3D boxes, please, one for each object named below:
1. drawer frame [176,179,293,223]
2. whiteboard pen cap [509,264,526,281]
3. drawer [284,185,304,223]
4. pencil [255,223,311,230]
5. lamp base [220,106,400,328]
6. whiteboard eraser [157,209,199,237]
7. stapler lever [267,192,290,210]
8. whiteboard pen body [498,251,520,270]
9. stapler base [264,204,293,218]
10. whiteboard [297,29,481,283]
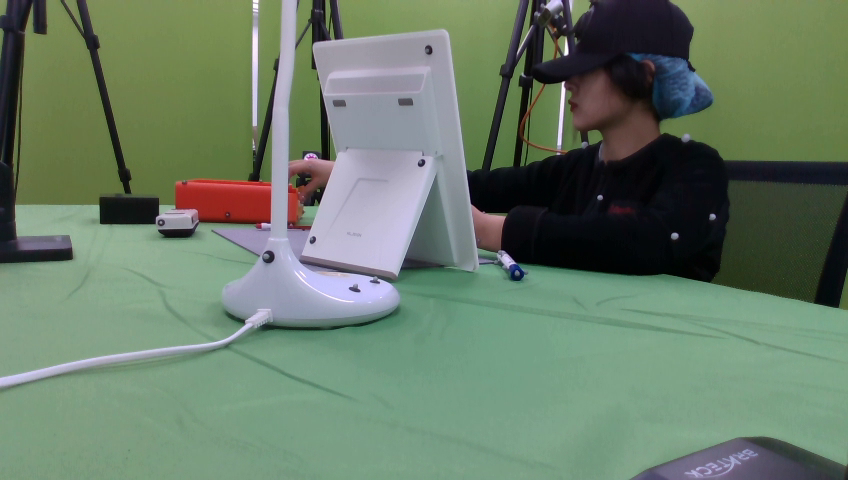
[{"bbox_3d":[-0.395,-0.086,1.300,0.214,0.082,0.201,1,8,-9],"label":"drawer frame"},{"bbox_3d":[0.115,0.039,0.752,0.018,0.018,0.033,2,9,0],"label":"whiteboard pen cap"},{"bbox_3d":[-0.369,-0.084,1.303,0.212,0.073,0.194,2,8,-8],"label":"drawer"},{"bbox_3d":[-0.216,-0.023,1.134,0.195,0.012,0.012,1,7,-21],"label":"pencil"},{"bbox_3d":[-0.101,-0.023,0.531,0.160,0.180,0.179,4,10,10],"label":"lamp base"},{"bbox_3d":[-0.411,-0.029,1.016,0.056,0.042,0.112,2,7,-16],"label":"whiteboard eraser"},{"bbox_3d":[-0.314,-0.088,1.310,0.027,0.040,0.118,5,9,-2],"label":"stapler lever"},{"bbox_3d":[0.116,0.032,0.810,0.017,0.017,0.140,2,8,-1],"label":"whiteboard pen body"},{"bbox_3d":[-0.315,-0.065,1.312,0.041,0.024,0.130,5,6,-2],"label":"stapler base"},{"bbox_3d":[-0.075,-0.082,0.741,0.216,0.305,0.144,9,29,37],"label":"whiteboard"}]
